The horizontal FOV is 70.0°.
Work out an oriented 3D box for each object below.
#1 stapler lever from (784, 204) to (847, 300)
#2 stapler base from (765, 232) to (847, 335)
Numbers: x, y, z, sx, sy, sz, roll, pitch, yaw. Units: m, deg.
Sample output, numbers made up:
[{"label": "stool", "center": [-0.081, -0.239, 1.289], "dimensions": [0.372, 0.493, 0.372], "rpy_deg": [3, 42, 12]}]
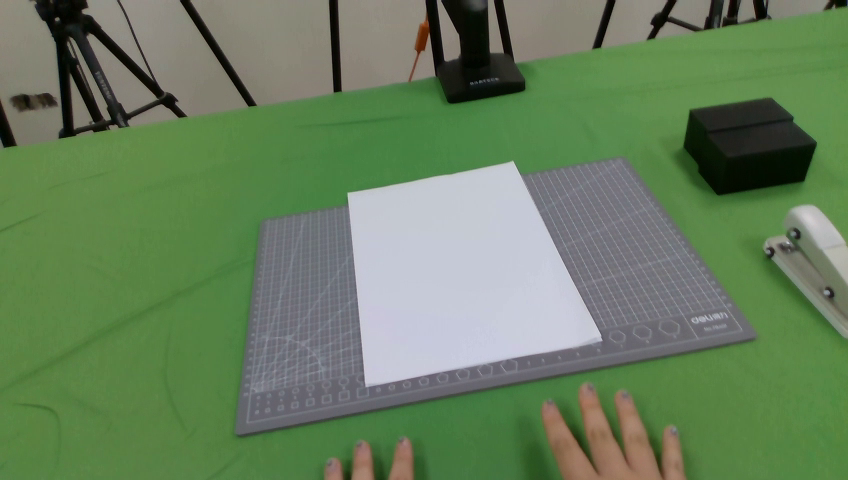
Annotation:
[{"label": "stapler lever", "center": [0.363, 0.013, 0.534], "dimensions": [0.027, 0.040, 0.116], "rpy_deg": [-13, 41, -2]}, {"label": "stapler base", "center": [0.365, 0.030, 0.551], "dimensions": [0.041, 0.025, 0.129], "rpy_deg": [-13, 42, -2]}]
